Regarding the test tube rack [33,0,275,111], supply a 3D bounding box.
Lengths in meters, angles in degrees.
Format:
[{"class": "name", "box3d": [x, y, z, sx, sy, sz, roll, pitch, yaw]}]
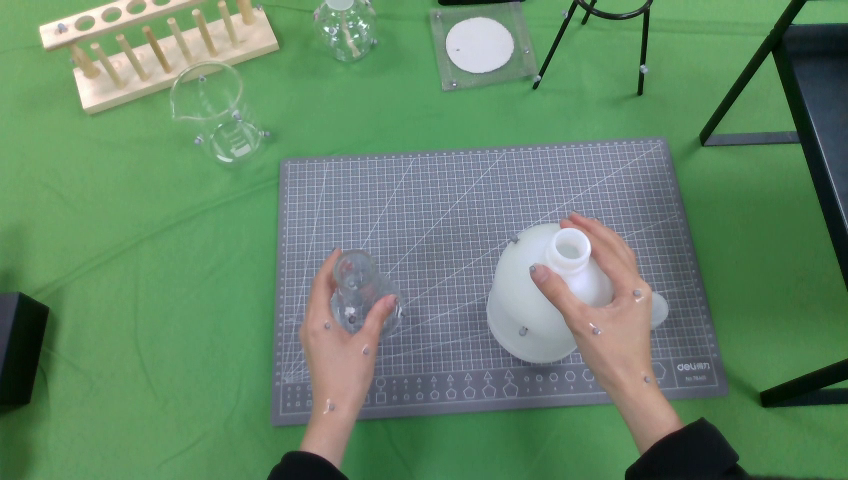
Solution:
[{"class": "test tube rack", "box3d": [-0.311, -0.244, 0.719, 0.242, 0.086, 0.066, -22, 69, -9]}]

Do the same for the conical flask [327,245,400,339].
[{"class": "conical flask", "box3d": [-0.063, 0.044, 0.576, 0.075, 0.123, 0.075, 0, 66, 1]}]

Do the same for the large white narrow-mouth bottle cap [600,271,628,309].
[{"class": "large white narrow-mouth bottle cap", "box3d": [0.192, 0.053, 0.630, 0.038, 0.024, 0.037, -1, 67, 2]}]

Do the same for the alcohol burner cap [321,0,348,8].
[{"class": "alcohol burner cap", "box3d": [-0.101, -0.291, 0.684, 0.034, 0.048, 0.033, 4, 66, -8]}]

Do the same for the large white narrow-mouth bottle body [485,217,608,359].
[{"class": "large white narrow-mouth bottle body", "box3d": [0.109, 0.037, 0.541, 0.102, 0.196, 0.101, -1, 66, 2]}]

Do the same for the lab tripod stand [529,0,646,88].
[{"class": "lab tripod stand", "box3d": [0.197, -0.246, 0.693, 0.148, 0.132, 0.147, 1, 66, -1]}]

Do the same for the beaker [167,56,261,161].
[{"class": "beaker", "box3d": [-0.229, -0.138, 0.667, 0.073, 0.101, 0.084, 41, 74, 16]}]

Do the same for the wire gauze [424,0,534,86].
[{"class": "wire gauze", "box3d": [0.068, -0.254, 0.763, 0.121, 0.011, 0.124, -8, 67, -4]}]

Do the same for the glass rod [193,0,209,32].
[{"class": "glass rod", "box3d": [-0.266, -0.304, 0.672, 0.008, 0.201, 0.008, 2, 65, -4]}]

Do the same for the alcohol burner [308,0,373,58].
[{"class": "alcohol burner", "box3d": [-0.101, -0.275, 0.717, 0.078, 0.120, 0.077, 0, 65, 0]}]
